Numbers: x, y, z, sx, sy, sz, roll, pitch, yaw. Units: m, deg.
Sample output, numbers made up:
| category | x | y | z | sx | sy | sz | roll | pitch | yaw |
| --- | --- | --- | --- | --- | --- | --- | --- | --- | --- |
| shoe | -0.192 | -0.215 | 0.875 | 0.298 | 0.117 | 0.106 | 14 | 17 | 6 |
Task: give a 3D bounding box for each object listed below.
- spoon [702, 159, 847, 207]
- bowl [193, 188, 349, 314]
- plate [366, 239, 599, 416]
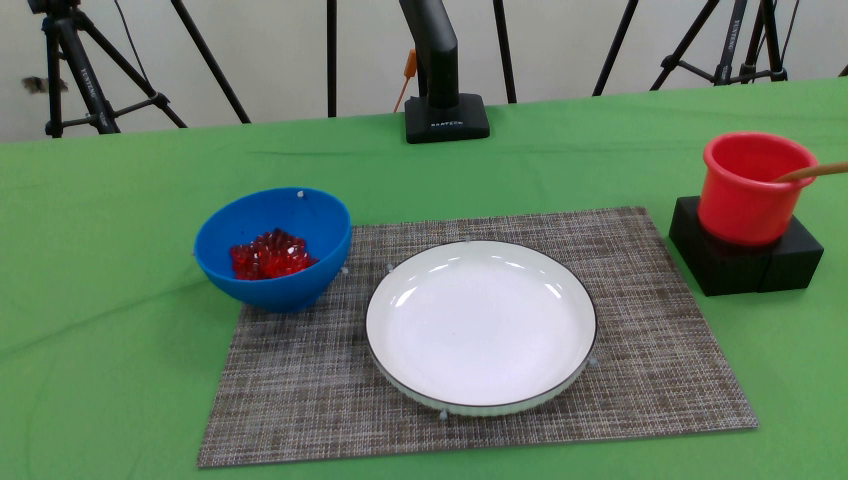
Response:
| category | x | y | z | sx | sy | sz | roll | pitch | yaw |
| --- | --- | --- | --- | --- | --- | --- | --- | --- | --- |
| spoon | 0.319 | -0.052 | 0.530 | 0.042 | 0.021 | 0.193 | -19 | -3 | -17 |
| bowl | -0.145 | 0.021 | 0.612 | 0.151 | 0.077 | 0.150 | -3 | 39 | 3 |
| plate | 0.052 | 0.077 | 0.556 | 0.207 | 0.039 | 0.205 | -3 | 39 | 3 |
